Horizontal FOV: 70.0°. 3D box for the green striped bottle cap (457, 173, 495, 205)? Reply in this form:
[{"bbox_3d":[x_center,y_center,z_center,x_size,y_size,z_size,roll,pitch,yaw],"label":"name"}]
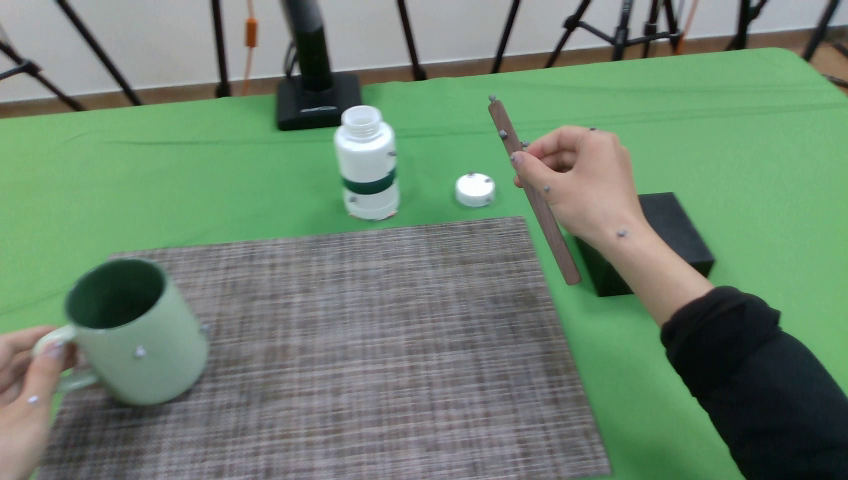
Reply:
[{"bbox_3d":[0.061,-0.060,0.708,0.044,0.020,0.044,-1,40,1],"label":"green striped bottle cap"}]

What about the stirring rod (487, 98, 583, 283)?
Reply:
[{"bbox_3d":[0.093,-0.045,0.517,0.014,0.006,0.175,-27,77,22],"label":"stirring rod"}]

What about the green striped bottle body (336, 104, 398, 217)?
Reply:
[{"bbox_3d":[-0.062,-0.088,0.665,0.063,0.120,0.062,0,45,1],"label":"green striped bottle body"}]

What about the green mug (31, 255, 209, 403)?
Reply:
[{"bbox_3d":[-0.252,0.083,0.502,0.125,0.106,0.091,-26,50,-23],"label":"green mug"}]
